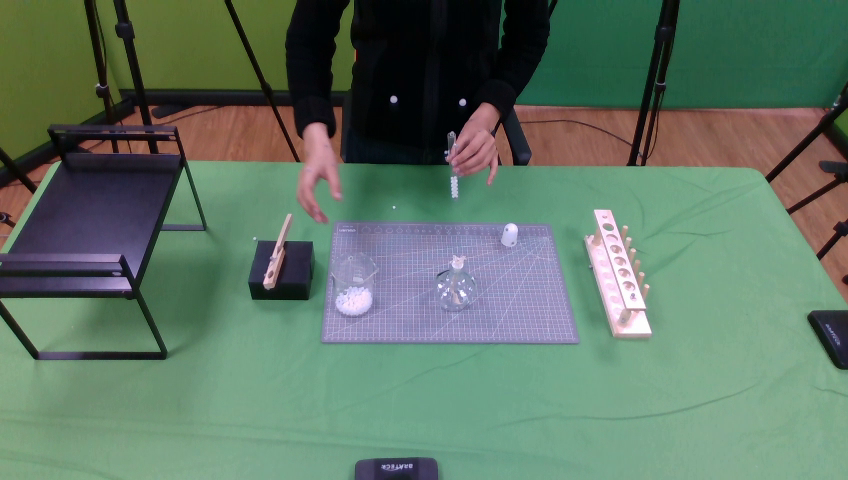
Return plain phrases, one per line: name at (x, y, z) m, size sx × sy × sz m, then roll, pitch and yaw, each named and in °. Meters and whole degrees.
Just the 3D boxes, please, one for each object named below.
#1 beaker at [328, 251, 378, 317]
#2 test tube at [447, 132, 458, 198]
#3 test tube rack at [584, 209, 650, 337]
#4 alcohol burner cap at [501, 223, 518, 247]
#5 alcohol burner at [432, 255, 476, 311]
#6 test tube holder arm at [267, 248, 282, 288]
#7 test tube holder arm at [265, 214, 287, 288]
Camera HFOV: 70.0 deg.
beaker at (-0.122, 0.079, 1.055) m, size 0.084 × 0.101 × 0.073 m, roll 0°, pitch 47°, yaw -5°
test tube at (0.055, -0.139, 1.153) m, size 0.017 × 0.151 × 0.017 m, roll -3°, pitch 43°, yaw 3°
test tube rack at (0.365, 0.056, 1.129) m, size 0.067 × 0.085 × 0.240 m, roll 1°, pitch 46°, yaw -3°
alcohol burner cap at (0.172, -0.013, 1.207) m, size 0.034 × 0.048 × 0.033 m, roll 1°, pitch 45°, yaw -1°
alcohol burner at (0.055, 0.070, 1.068) m, size 0.078 × 0.119 × 0.077 m, roll 3°, pitch 45°, yaw -3°
test tube holder arm at (-0.262, 0.048, 1.068) m, size 0.010 × 0.015 × 0.087 m, roll 4°, pitch 45°, yaw -3°
test tube holder arm at (-0.268, 0.016, 1.099) m, size 0.013 × 0.015 × 0.177 m, roll 3°, pitch 45°, yaw -5°
